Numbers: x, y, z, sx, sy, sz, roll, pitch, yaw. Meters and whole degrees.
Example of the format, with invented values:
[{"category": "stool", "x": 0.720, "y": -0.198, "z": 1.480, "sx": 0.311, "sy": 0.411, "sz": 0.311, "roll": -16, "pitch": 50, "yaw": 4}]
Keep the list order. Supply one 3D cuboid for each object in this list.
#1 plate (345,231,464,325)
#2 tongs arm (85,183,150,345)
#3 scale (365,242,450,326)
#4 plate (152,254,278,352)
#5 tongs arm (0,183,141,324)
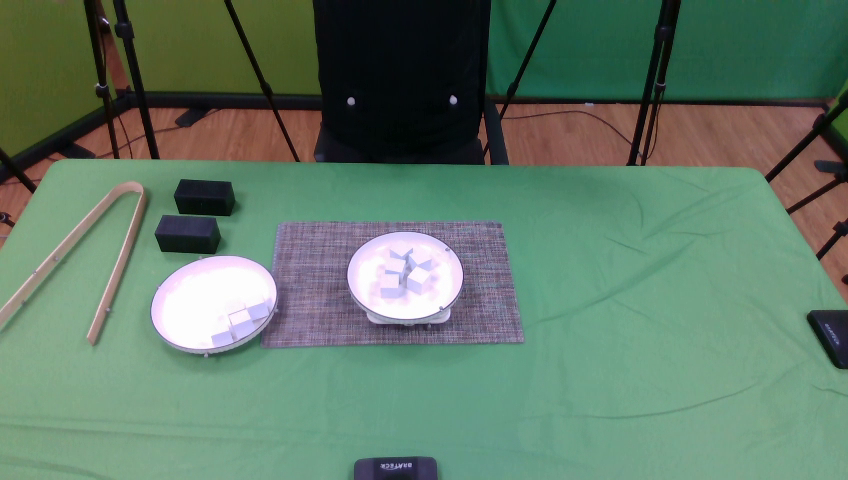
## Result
[{"category": "plate", "x": -0.034, "y": 0.069, "z": 1.069, "sx": 0.209, "sy": 0.038, "sz": 0.208, "roll": 2, "pitch": 46, "yaw": -2}, {"category": "tongs arm", "x": -0.561, "y": 0.029, "z": 1.121, "sx": 0.028, "sy": 0.028, "sz": 0.385, "roll": -3, "pitch": 46, "yaw": -2}, {"category": "scale", "x": -0.032, "y": 0.071, "z": 1.113, "sx": 0.149, "sy": 0.032, "sz": 0.199, "roll": 0, "pitch": 46, "yaw": -4}, {"category": "plate", "x": -0.357, "y": 0.111, "z": 1.052, "sx": 0.208, "sy": 0.039, "sz": 0.206, "roll": 2, "pitch": 46, "yaw": -2}, {"category": "tongs arm", "x": -0.648, "y": 0.017, "z": 1.121, "sx": 0.051, "sy": 0.026, "sz": 0.383, "roll": 11, "pitch": 45, "yaw": 6}]
